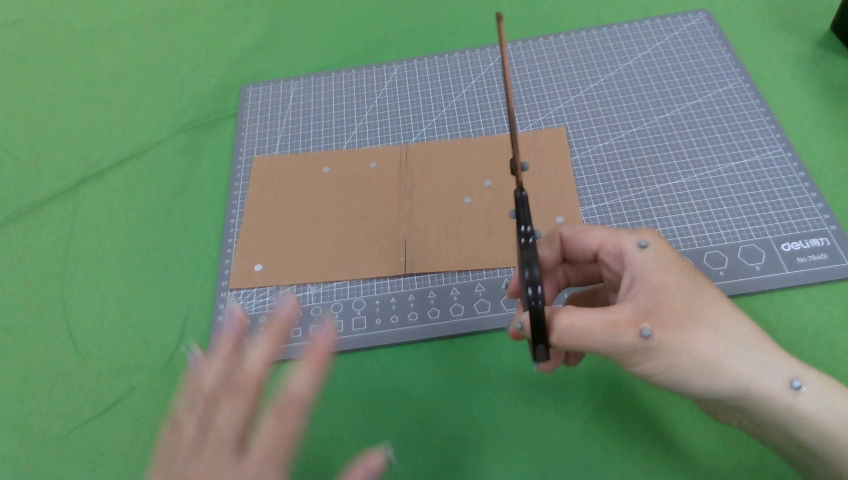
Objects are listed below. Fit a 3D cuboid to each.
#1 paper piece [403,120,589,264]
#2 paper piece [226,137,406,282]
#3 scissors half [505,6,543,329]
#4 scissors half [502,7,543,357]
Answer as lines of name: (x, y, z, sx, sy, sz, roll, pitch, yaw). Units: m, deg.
paper piece: (0.051, -0.041, 0.471, 0.135, 0.004, 0.134, -3, 54, 5)
paper piece: (-0.082, -0.029, 0.484, 0.138, 0.009, 0.134, -4, 52, 7)
scissors half: (0.052, -0.031, 0.321, 0.013, 0.176, 0.040, -4, 22, 12)
scissors half: (0.048, -0.026, 0.302, 0.013, 0.040, 0.175, -5, 95, 7)
